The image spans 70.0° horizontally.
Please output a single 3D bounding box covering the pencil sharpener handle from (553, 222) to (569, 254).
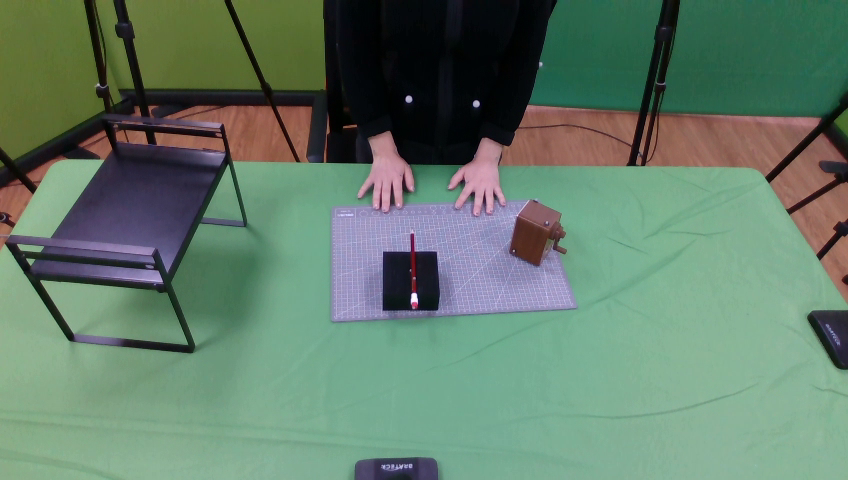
[{"bbox_3d":[0.260,-0.001,1.135,0.030,0.068,0.036,27,58,20],"label":"pencil sharpener handle"}]

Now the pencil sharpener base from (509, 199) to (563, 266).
[{"bbox_3d":[0.216,-0.012,1.160,0.076,0.107,0.061,27,50,20],"label":"pencil sharpener base"}]

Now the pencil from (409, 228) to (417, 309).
[{"bbox_3d":[-0.021,0.046,1.087,0.012,0.012,0.193,0,46,-4],"label":"pencil"}]
